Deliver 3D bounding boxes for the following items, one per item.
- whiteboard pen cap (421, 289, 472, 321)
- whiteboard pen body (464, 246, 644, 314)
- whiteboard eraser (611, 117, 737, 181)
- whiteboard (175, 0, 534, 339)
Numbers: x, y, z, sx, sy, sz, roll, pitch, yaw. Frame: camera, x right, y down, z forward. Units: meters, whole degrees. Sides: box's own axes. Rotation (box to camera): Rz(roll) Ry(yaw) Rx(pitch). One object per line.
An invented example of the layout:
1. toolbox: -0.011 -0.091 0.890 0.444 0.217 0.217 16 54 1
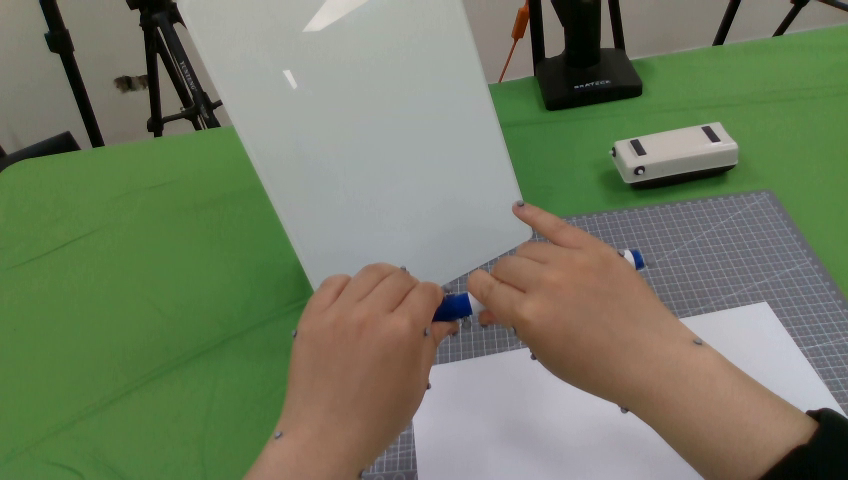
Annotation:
1. whiteboard pen cap: 0.015 0.042 0.394 0.033 0.018 0.018 -9 41 -2
2. whiteboard pen body: 0.072 0.029 0.393 0.141 0.017 0.017 -16 41 1
3. whiteboard eraser: 0.255 -0.092 0.625 0.112 0.042 0.055 -9 43 4
4. whiteboard: -0.059 -0.106 0.572 0.217 0.307 0.142 -27 23 -14
